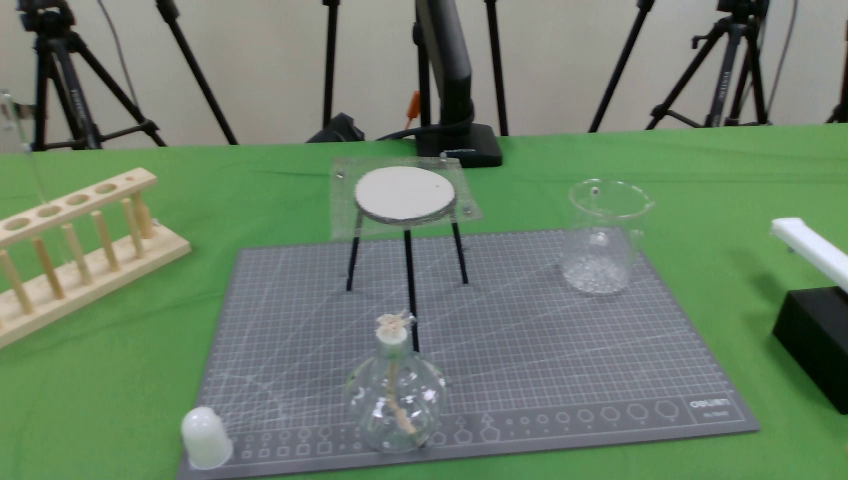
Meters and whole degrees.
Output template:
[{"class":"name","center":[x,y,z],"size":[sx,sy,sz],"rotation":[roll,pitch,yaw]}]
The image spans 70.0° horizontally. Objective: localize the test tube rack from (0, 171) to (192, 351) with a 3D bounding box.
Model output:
[{"class":"test tube rack","center":[-0.364,0.021,0.599],"size":[0.066,0.086,0.242],"rotation":[26,42,32]}]

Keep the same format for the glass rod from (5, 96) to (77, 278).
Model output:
[{"class":"glass rod","center":[-0.359,-0.041,0.572],"size":[0.008,0.201,0.008],"rotation":[3,37,-2]}]

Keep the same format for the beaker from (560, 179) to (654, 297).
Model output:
[{"class":"beaker","center":[0.179,0.000,0.606],"size":[0.084,0.101,0.073],"rotation":[1,35,2]}]

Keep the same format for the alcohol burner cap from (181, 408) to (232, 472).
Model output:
[{"class":"alcohol burner cap","center":[-0.164,0.145,0.450],"size":[0.034,0.048,0.033],"rotation":[1,34,0]}]

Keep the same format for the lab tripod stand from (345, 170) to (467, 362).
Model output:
[{"class":"lab tripod stand","center":[-0.014,0.016,0.556],"size":[0.148,0.132,0.147],"rotation":[1,35,0]}]

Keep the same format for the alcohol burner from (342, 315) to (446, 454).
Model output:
[{"class":"alcohol burner","center":[-0.022,0.102,0.448],"size":[0.078,0.120,0.077],"rotation":[1,34,0]}]

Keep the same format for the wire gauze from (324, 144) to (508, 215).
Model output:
[{"class":"wire gauze","center":[-0.010,-0.051,0.506],"size":[0.125,0.011,0.120],"rotation":[-10,31,-26]}]

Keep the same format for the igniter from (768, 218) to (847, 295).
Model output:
[{"class":"igniter","center":[0.387,0.054,0.512],"size":[0.057,0.025,0.273],"rotation":[-5,31,-5]}]
